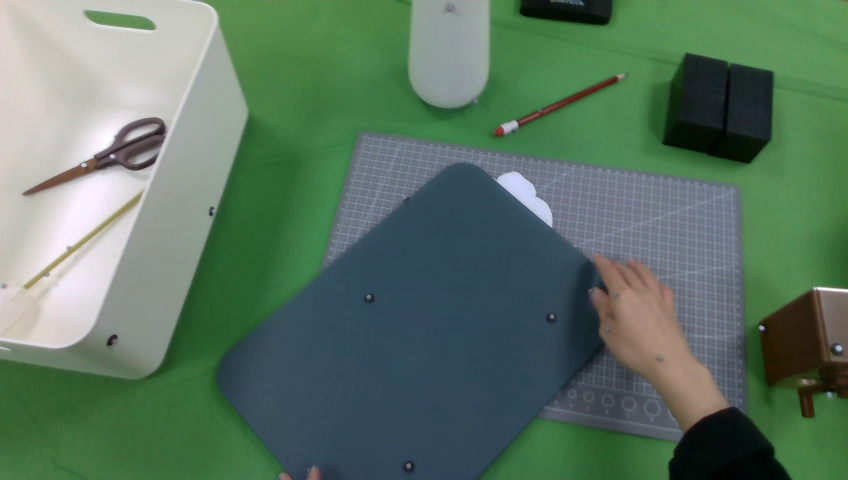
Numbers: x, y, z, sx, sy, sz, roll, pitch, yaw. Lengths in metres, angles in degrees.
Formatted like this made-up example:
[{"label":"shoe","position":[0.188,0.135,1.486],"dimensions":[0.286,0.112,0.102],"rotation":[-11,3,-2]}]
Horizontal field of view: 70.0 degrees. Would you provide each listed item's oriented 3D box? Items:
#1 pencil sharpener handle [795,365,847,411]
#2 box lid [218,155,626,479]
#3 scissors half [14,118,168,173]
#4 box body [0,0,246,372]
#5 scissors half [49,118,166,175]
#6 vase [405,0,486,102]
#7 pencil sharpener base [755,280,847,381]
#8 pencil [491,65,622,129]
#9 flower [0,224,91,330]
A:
[{"label":"pencil sharpener handle","position":[0.362,0.133,0.540],"dimensions":[0.036,0.068,0.030],"rotation":[10,66,-10]},{"label":"box lid","position":[0.004,0.092,0.623],"dimensions":[0.371,0.015,0.261],"rotation":[-42,73,-16]},{"label":"scissors half","position":[-0.382,-0.104,0.695],"dimensions":[0.175,0.040,0.012],"rotation":[-19,30,-3]},{"label":"box body","position":[-0.355,-0.065,0.611],"dimensions":[0.254,0.161,0.361],"rotation":[8,66,4]},{"label":"scissors half","position":[-0.377,-0.092,0.702],"dimensions":[0.175,0.040,0.012],"rotation":[-24,24,1]},{"label":"vase","position":[0.024,-0.246,0.671],"dimensions":[0.098,0.201,0.097],"rotation":[0,65,1]},{"label":"pencil sharpener base","position":[0.370,0.092,0.571],"dimensions":[0.061,0.108,0.076],"rotation":[5,66,2]},{"label":"pencil","position":[0.166,-0.178,0.744],"dimensions":[0.194,0.012,0.012],"rotation":[-27,68,-13]},{"label":"flower","position":[-0.358,-0.036,0.693],"dimensions":[0.038,0.044,0.360],"rotation":[3,42,28]}]
